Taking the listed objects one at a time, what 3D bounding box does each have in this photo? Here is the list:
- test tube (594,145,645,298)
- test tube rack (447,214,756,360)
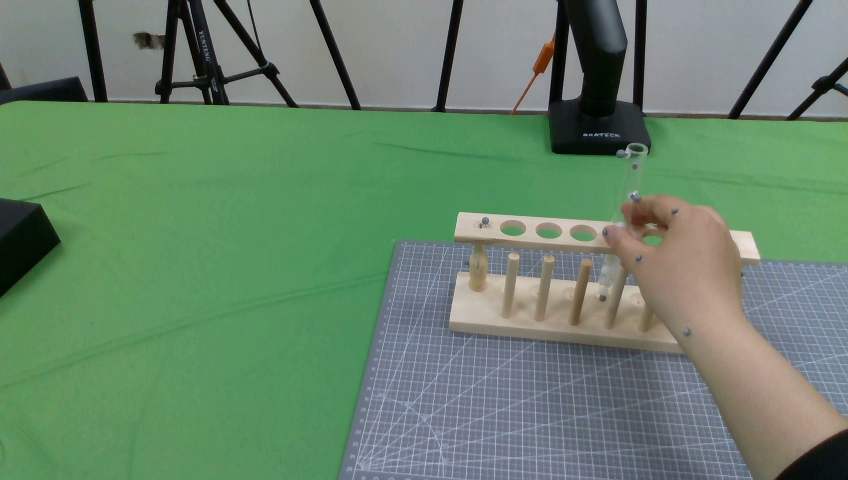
[{"bbox_3d":[0.158,-0.009,0.497,0.017,0.151,0.017,-1,38,1],"label":"test tube"},{"bbox_3d":[0.144,0.039,0.518,0.242,0.086,0.066,5,41,7],"label":"test tube rack"}]
